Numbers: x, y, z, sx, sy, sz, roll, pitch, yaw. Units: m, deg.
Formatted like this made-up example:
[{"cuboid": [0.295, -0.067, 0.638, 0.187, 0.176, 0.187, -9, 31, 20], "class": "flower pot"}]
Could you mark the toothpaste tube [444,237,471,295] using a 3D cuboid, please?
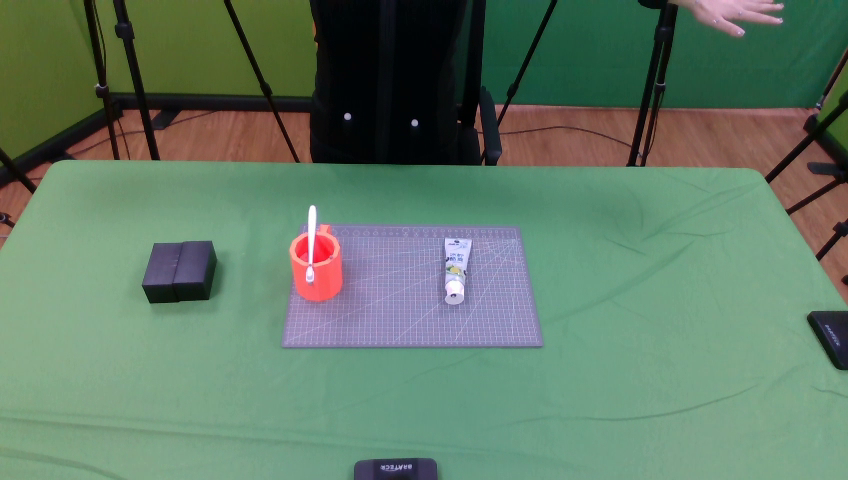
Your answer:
[{"cuboid": [0.061, 0.049, 1.149, 0.055, 0.034, 0.164, 9, 42, -3], "class": "toothpaste tube"}]

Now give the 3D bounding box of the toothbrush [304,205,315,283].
[{"cuboid": [-0.199, 0.001, 1.052, 0.014, 0.017, 0.180, -4, 46, -4], "class": "toothbrush"}]

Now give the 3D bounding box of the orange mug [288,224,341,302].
[{"cuboid": [-0.192, 0.034, 1.094, 0.083, 0.101, 0.125, 7, 50, 2], "class": "orange mug"}]

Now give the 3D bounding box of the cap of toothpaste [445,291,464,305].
[{"cuboid": [0.054, 0.103, 1.088, 0.037, 0.037, 0.011, -4, 48, -7], "class": "cap of toothpaste"}]
